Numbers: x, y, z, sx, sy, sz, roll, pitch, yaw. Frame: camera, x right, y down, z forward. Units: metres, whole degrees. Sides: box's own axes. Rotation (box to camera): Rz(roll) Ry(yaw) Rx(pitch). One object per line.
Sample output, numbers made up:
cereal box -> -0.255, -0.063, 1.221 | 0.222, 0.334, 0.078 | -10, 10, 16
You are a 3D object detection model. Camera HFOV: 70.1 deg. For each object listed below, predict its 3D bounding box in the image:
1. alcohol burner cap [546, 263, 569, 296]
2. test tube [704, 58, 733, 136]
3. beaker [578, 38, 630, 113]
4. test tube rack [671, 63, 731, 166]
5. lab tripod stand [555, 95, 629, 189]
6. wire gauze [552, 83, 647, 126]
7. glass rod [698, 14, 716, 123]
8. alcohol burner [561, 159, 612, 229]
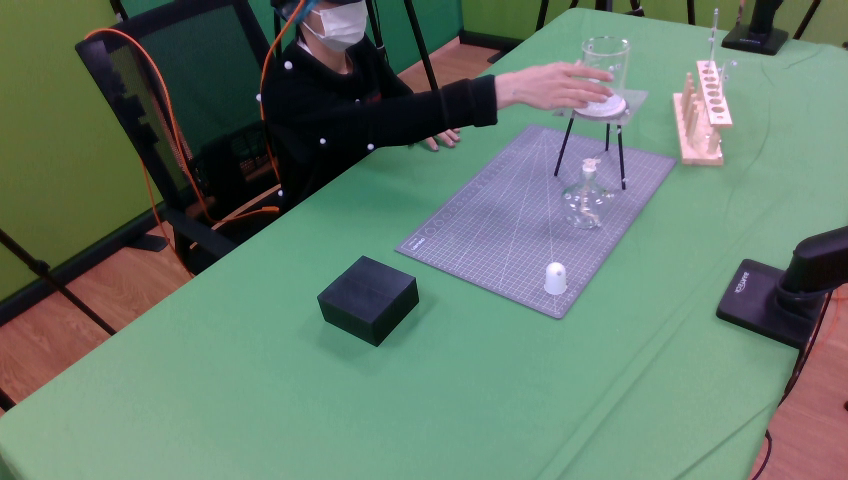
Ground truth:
alcohol burner cap -> 0.191, 0.053, 0.862 | 0.034, 0.048, 0.033 | -5, 40, 4
test tube -> 0.516, -0.247, 1.062 | 0.017, 0.151, 0.017 | -3, 43, 4
beaker -> 0.290, -0.265, 0.976 | 0.084, 0.101, 0.073 | -18, 41, -14
test tube rack -> 0.513, -0.241, 1.132 | 0.066, 0.085, 0.242 | 4, 41, 14
lab tripod stand -> 0.300, -0.174, 1.045 | 0.148, 0.132, 0.147 | -5, 38, 5
wire gauze -> 0.293, -0.224, 1.004 | 0.120, 0.011, 0.125 | 19, 43, 26
glass rod -> 0.531, -0.320, 1.137 | 0.008, 0.200, 0.008 | 3, 12, 0
alcohol burner -> 0.257, -0.077, 0.951 | 0.078, 0.119, 0.077 | -3, 40, 3
